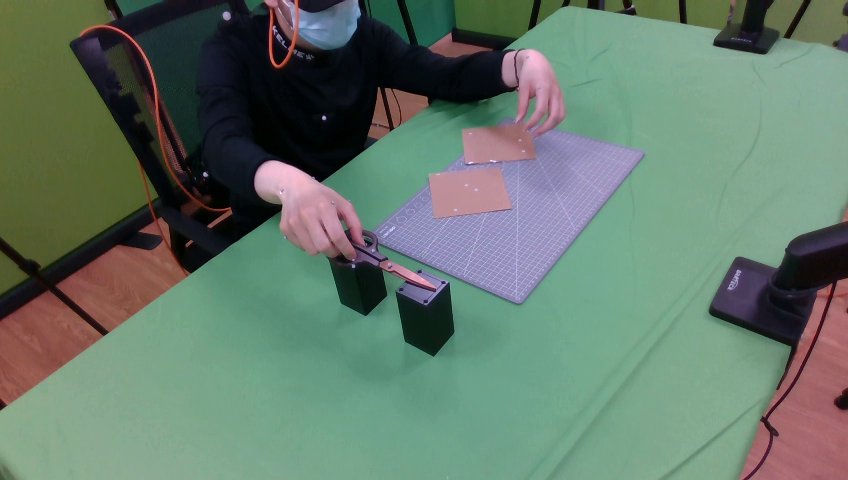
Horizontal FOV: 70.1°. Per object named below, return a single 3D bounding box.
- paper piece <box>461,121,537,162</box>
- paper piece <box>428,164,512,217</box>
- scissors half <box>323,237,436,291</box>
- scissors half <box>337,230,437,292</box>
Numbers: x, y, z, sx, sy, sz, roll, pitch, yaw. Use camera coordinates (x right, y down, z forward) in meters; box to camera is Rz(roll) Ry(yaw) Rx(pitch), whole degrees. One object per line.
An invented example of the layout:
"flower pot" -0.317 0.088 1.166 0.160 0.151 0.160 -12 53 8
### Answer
"paper piece" 0.143 -0.193 1.182 0.136 0.009 0.137 -2 40 1
"paper piece" 0.078 -0.091 1.070 0.135 0.004 0.135 -7 40 0
"scissors half" -0.060 0.033 0.786 0.174 0.013 0.040 21 30 20
"scissors half" -0.049 0.026 0.801 0.174 0.013 0.040 31 40 32
